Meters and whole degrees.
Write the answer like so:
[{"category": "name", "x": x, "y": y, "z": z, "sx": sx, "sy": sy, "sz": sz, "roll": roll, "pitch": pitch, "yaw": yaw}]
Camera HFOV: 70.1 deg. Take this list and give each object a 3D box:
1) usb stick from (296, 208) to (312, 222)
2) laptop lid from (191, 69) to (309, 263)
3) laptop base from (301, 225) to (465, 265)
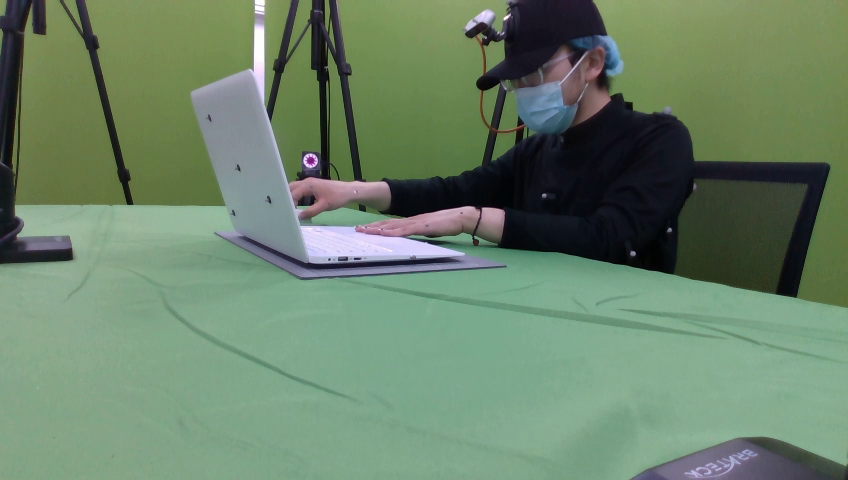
[{"category": "usb stick", "x": -0.257, "y": -0.050, "z": 1.214, "sx": 0.059, "sy": 0.027, "sz": 0.021, "roll": -2, "pitch": 14, "yaw": -43}, {"category": "laptop lid", "x": -0.254, "y": -0.102, "z": 0.842, "sx": 0.013, "sy": 0.242, "sz": 0.355, "roll": -22, "pitch": 20, "yaw": -27}, {"category": "laptop base", "x": -0.128, "y": 0.005, "z": 0.937, "sx": 0.237, "sy": 0.023, "sz": 0.352, "roll": 2, "pitch": 6, "yaw": -32}]
